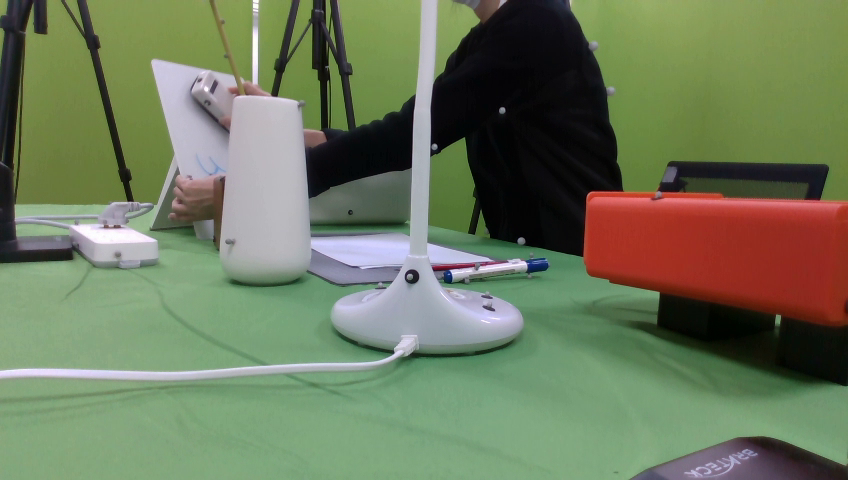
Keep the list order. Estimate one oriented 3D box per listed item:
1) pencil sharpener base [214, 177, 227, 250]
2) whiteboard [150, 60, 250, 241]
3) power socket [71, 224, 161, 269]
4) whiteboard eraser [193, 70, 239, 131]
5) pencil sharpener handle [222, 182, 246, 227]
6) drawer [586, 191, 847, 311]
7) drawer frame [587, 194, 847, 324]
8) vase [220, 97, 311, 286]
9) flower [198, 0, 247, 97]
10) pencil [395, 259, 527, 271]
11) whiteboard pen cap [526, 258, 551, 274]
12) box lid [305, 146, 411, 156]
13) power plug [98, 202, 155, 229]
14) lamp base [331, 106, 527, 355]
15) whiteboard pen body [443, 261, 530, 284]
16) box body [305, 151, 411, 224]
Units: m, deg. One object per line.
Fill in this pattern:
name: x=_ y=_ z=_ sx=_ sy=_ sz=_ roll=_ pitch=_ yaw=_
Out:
pencil sharpener base: x=-0.265 y=-0.036 z=0.870 sx=0.061 sy=0.107 sz=0.076 roll=-2 pitch=8 yaw=-29
whiteboard: x=-0.408 y=-0.139 z=1.093 sx=0.143 sy=0.305 sz=0.218 roll=-15 pitch=-1 yaw=26
power socket: x=-0.408 y=0.004 z=0.793 sx=0.072 sy=0.032 sz=0.225 roll=-2 pitch=8 yaw=-38
whiteboard eraser: x=-0.352 y=-0.239 z=1.061 sx=0.041 sy=0.055 sz=0.113 roll=-16 pitch=-41 yaw=24
pencil sharpener handle: x=-0.289 y=-0.055 z=0.912 sx=0.036 sy=0.067 sz=0.030 roll=-2 pitch=8 yaw=-29
drawer: x=0.281 y=0.001 z=0.513 sx=0.195 sy=0.073 sz=0.210 roll=-1 pitch=7 yaw=-29
drawer frame: x=0.285 y=0.004 z=0.508 sx=0.203 sy=0.082 sz=0.212 roll=-1 pitch=6 yaw=-29
vase: x=-0.172 y=-0.052 z=0.662 sx=0.098 sy=0.200 sz=0.098 roll=3 pitch=9 yaw=0
flower: x=-0.187 y=-0.133 z=0.648 sx=0.038 sy=0.362 sz=0.044 roll=-1 pitch=21 yaw=43
pencil: x=0.052 y=0.034 z=0.783 sx=0.195 sy=0.012 sz=0.012 roll=-2 pitch=9 yaw=-25
whiteboard pen cap: x=0.141 y=0.033 z=0.758 sx=0.033 sy=0.018 sz=0.018 roll=-7 pitch=11 yaw=-26
box lid: x=-0.229 y=-0.200 z=1.360 sx=0.373 sy=0.015 sz=0.262 roll=-3 pitch=9 yaw=-33
power plug: x=-0.416 y=-0.026 z=0.848 sx=0.073 sy=0.052 sz=0.035 roll=0 pitch=8 yaw=-28
lamp base: x=0.006 y=-0.012 z=0.478 sx=0.161 sy=0.180 sz=0.179 roll=2 pitch=10 yaw=2
whiteboard pen body: x=0.087 y=0.037 z=0.734 sx=0.141 sy=0.017 sz=0.017 roll=-6 pitch=10 yaw=-27
box body: x=-0.230 y=-0.126 z=1.371 sx=0.366 sy=0.160 sz=0.253 roll=-2 pitch=8 yaw=-33
